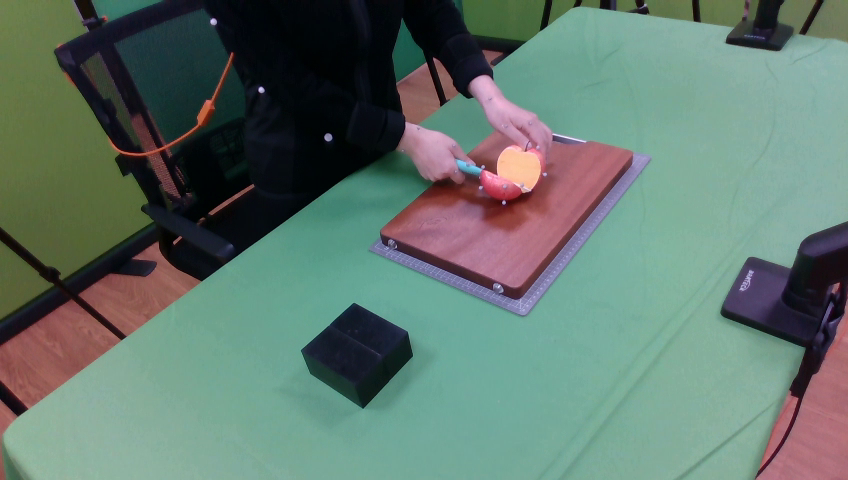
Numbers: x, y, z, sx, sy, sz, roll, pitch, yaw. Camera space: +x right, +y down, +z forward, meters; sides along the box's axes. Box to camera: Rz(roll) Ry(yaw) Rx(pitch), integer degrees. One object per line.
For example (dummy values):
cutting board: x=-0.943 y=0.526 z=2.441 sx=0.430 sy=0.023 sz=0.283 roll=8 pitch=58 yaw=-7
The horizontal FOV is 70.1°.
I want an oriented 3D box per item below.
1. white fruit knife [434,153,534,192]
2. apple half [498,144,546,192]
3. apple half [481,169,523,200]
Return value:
white fruit knife: x=0.096 y=-0.114 z=1.018 sx=0.205 sy=0.027 sz=0.016 roll=23 pitch=75 yaw=33
apple half: x=0.168 y=-0.122 z=1.014 sx=0.080 sy=0.075 sz=0.053 roll=15 pitch=23 yaw=27
apple half: x=0.124 y=-0.082 z=0.990 sx=0.080 sy=0.082 sz=0.033 roll=24 pitch=84 yaw=34
